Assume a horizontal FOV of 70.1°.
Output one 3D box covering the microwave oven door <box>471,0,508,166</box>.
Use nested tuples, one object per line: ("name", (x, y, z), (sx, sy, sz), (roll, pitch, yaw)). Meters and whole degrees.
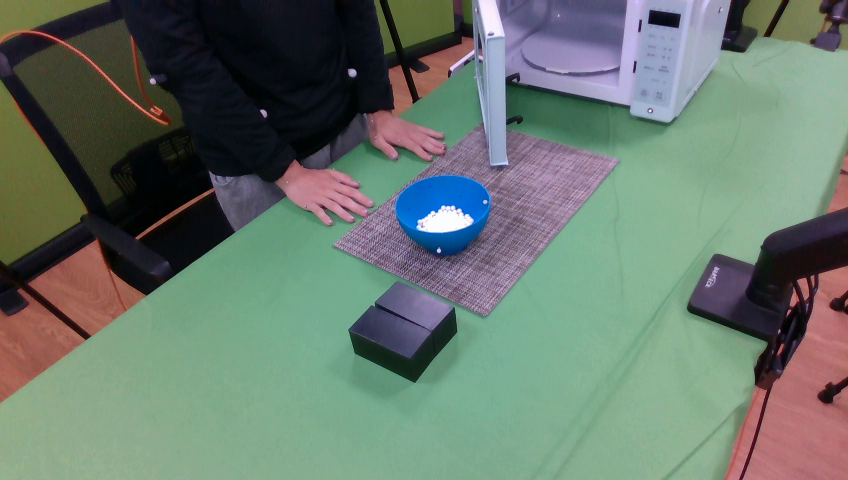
("microwave oven door", (0.122, -0.340, 1.153), (0.039, 0.245, 0.354), (-5, 40, 3))

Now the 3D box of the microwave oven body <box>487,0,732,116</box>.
("microwave oven body", (0.377, -0.462, 1.267), (0.438, 0.261, 0.327), (21, 48, 30))

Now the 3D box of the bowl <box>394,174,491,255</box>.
("bowl", (0.032, -0.030, 0.949), (0.151, 0.077, 0.150), (-4, 40, 4))

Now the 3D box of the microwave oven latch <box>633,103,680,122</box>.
("microwave oven latch", (0.444, -0.249, 1.157), (0.078, 0.029, 0.030), (21, 49, 30))
